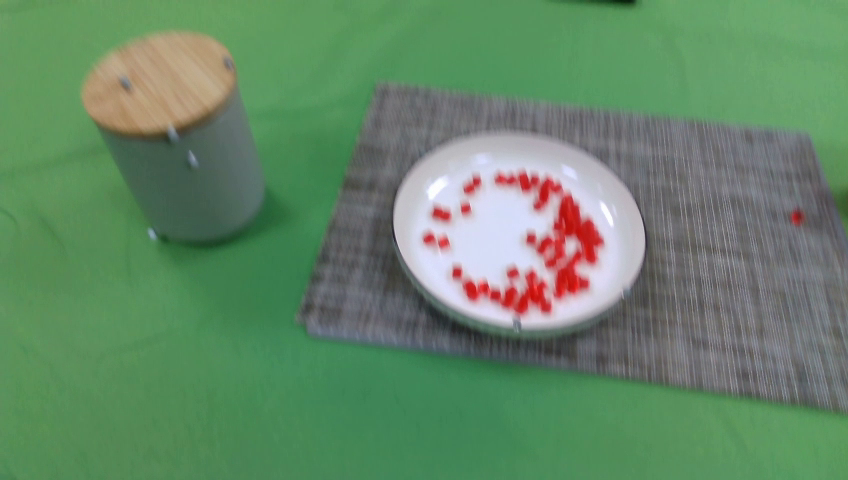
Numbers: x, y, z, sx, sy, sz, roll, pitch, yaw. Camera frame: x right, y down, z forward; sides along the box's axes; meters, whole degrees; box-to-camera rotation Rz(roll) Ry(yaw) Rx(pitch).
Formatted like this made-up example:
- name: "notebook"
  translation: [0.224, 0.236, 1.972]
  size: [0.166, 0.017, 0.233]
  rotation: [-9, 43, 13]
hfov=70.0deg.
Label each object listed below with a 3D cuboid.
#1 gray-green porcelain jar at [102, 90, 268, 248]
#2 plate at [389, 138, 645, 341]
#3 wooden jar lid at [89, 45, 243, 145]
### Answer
- name: "gray-green porcelain jar"
  translation: [-0.189, -0.064, 0.498]
  size: [0.106, 0.127, 0.105]
  rotation: [1, 51, -1]
- name: "plate"
  translation: [0.075, -0.002, 0.509]
  size: [0.208, 0.039, 0.205]
  rotation: [1, 52, -1]
- name: "wooden jar lid"
  translation: [-0.187, -0.105, 0.448]
  size: [0.108, 0.021, 0.107]
  rotation: [1, 54, -1]
